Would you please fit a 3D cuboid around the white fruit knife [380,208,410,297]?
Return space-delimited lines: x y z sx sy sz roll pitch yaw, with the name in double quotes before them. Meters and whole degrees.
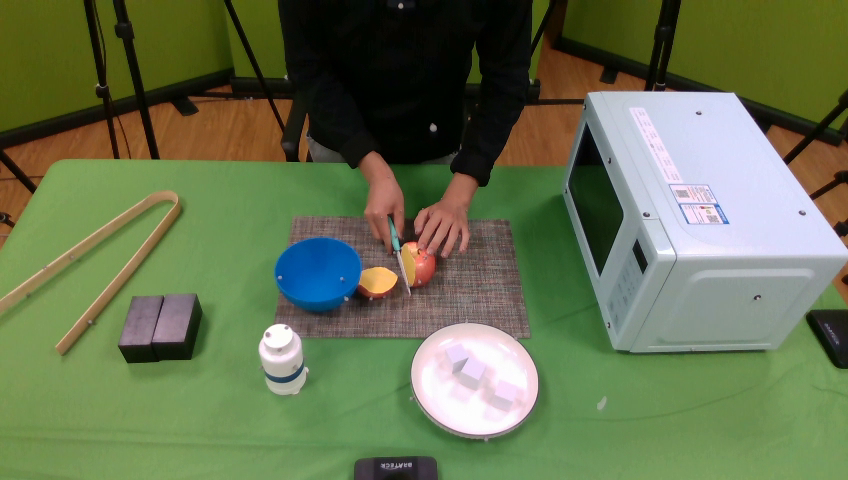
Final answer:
"white fruit knife" -0.053 0.019 1.155 0.016 0.027 0.206 -8 59 -18

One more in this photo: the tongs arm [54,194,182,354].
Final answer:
"tongs arm" -0.543 0.048 1.107 0.028 0.028 0.385 11 45 10

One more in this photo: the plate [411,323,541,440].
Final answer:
"plate" 0.082 0.228 0.976 0.208 0.039 0.206 2 45 -2

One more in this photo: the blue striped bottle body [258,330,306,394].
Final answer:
"blue striped bottle body" -0.220 0.182 0.937 0.063 0.121 0.062 2 46 -2

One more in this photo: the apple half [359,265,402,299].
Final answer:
"apple half" -0.078 0.080 1.096 0.081 0.033 0.081 6 41 -5

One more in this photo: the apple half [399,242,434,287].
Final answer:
"apple half" -0.010 0.046 1.117 0.053 0.075 0.080 -5 42 -24

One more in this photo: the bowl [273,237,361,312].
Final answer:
"bowl" -0.186 0.075 1.069 0.151 0.077 0.150 3 46 -3

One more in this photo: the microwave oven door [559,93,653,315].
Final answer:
"microwave oven door" 0.327 -0.074 1.123 0.039 0.245 0.353 -1 46 -5

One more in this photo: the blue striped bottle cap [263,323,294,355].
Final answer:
"blue striped bottle cap" -0.217 0.146 0.900 0.044 0.021 0.044 1 46 -1

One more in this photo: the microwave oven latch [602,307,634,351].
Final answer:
"microwave oven latch" 0.332 0.153 1.044 0.030 0.029 0.078 -1 45 -4

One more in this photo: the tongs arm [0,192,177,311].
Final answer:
"tongs arm" -0.618 0.019 1.123 0.050 0.026 0.384 23 47 17

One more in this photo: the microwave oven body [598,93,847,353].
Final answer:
"microwave oven body" 0.475 -0.041 1.109 0.326 0.261 0.438 -1 45 -4
